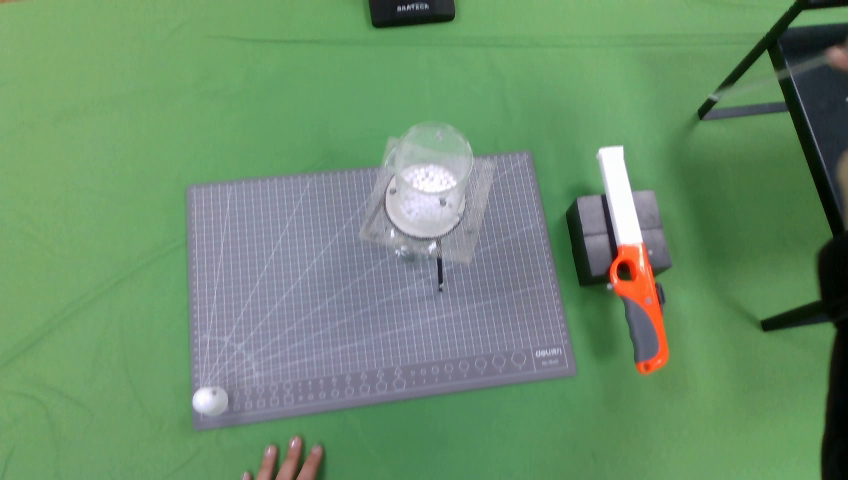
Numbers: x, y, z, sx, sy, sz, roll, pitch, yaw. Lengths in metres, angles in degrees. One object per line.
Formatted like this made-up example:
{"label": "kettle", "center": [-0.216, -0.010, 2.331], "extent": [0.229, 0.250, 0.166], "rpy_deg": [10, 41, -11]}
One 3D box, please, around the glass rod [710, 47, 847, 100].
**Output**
{"label": "glass rod", "center": [0.349, -0.156, 0.513], "extent": [0.199, 0.008, 0.008], "rpy_deg": [-17, 71, 27]}

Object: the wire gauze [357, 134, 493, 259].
{"label": "wire gauze", "center": [0.004, -0.047, 0.644], "extent": [0.121, 0.011, 0.124], "rpy_deg": [16, 69, -1]}

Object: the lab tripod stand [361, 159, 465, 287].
{"label": "lab tripod stand", "center": [-0.003, -0.030, 0.707], "extent": [0.148, 0.132, 0.147], "rpy_deg": [1, 70, -3]}

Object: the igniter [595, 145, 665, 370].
{"label": "igniter", "center": [0.243, 0.014, 0.720], "extent": [0.057, 0.025, 0.274], "rpy_deg": [-5, 72, -2]}

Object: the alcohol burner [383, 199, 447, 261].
{"label": "alcohol burner", "center": [-0.010, -0.017, 0.713], "extent": [0.078, 0.119, 0.077], "rpy_deg": [1, 74, -2]}

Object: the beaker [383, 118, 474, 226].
{"label": "beaker", "center": [0.003, -0.061, 0.598], "extent": [0.084, 0.101, 0.073], "rpy_deg": [-7, 71, -5]}

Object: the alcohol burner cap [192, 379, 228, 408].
{"label": "alcohol burner cap", "center": [-0.242, 0.170, 0.677], "extent": [0.034, 0.048, 0.033], "rpy_deg": [1, 73, -4]}
